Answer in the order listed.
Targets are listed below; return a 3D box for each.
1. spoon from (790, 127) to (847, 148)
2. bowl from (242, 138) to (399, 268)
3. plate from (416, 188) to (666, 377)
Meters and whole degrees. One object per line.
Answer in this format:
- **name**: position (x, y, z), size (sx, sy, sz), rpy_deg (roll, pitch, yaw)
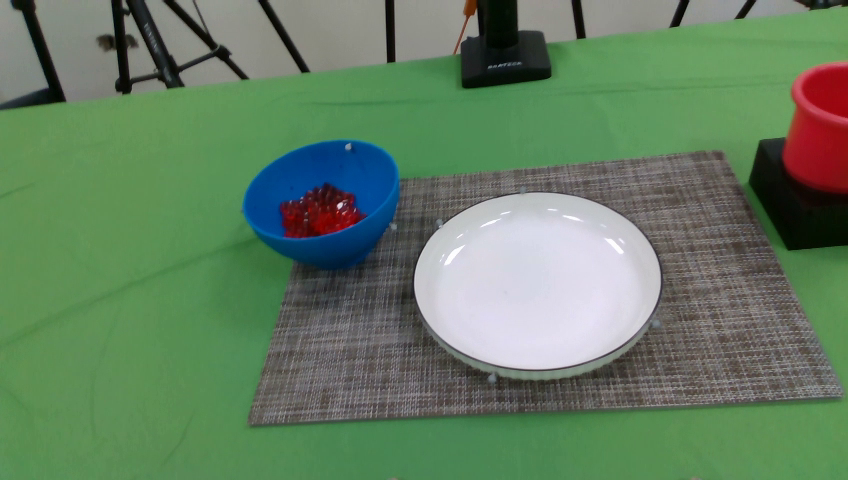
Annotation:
- **spoon**: position (0.357, -0.094, 0.458), size (0.041, 0.021, 0.193), rpy_deg (-20, 0, -9)
- **bowl**: position (-0.093, -0.026, 0.598), size (0.151, 0.077, 0.150), rpy_deg (-6, 44, 6)
- **plate**: position (0.098, 0.035, 0.526), size (0.207, 0.039, 0.205), rpy_deg (-6, 44, 6)
